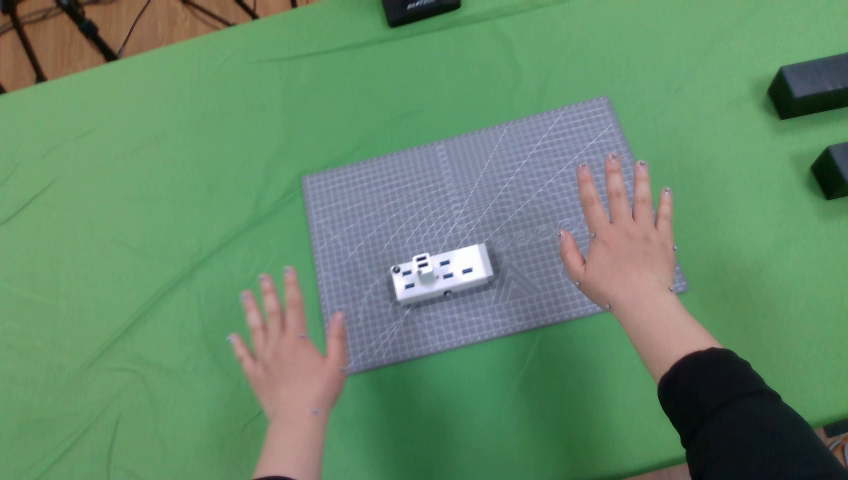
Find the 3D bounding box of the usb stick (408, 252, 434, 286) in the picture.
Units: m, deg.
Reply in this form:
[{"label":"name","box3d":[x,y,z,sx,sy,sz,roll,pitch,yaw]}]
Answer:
[{"label":"usb stick","box3d":[-0.002,0.039,0.743,0.021,0.059,0.027,-18,64,1]}]

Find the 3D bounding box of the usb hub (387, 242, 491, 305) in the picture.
[{"label":"usb hub","box3d":[0.018,0.042,0.770,0.125,0.025,0.049,-15,66,2]}]
